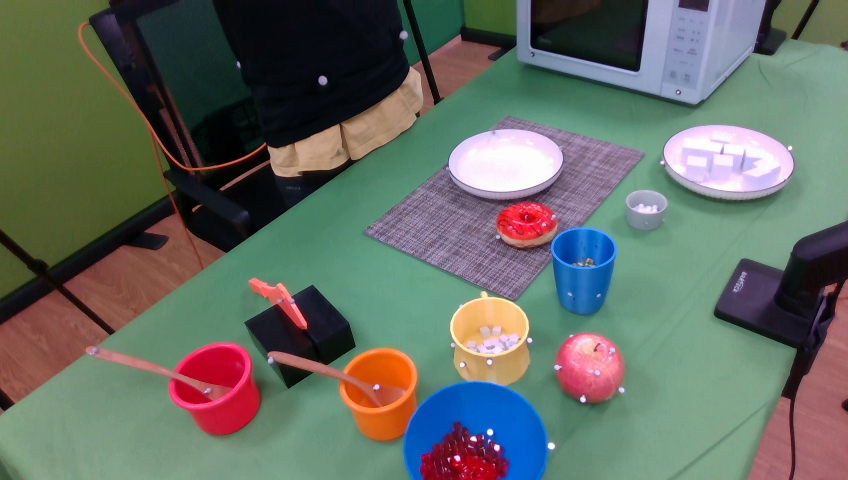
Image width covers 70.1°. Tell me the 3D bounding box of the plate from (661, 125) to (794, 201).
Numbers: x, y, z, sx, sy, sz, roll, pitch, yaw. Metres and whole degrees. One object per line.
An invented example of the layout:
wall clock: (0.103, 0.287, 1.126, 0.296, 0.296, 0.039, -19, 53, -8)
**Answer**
plate: (0.513, -0.128, 1.035, 0.207, 0.039, 0.206, -4, 40, 4)

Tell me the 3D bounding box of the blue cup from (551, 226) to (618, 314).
blue cup: (0.218, 0.047, 0.826, 0.092, 0.101, 0.092, -6, 40, 5)

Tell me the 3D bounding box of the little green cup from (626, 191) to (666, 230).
little green cup: (0.352, -0.046, 0.963, 0.061, 0.039, 0.061, -4, 40, 4)

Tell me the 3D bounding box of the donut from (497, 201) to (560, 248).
donut: (0.165, -0.026, 0.958, 0.099, 0.048, 0.098, -5, 38, 5)

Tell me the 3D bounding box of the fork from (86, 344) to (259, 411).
fork: (-0.298, 0.166, 0.728, 0.209, 0.018, 0.028, 28, 49, -23)

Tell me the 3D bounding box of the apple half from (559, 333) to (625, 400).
apple half: (0.209, 0.147, 0.730, 0.080, 0.075, 0.053, 26, 48, 38)

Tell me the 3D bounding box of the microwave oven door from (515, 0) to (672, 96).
microwave oven door: (0.343, -0.455, 1.259, 0.353, 0.245, 0.039, 26, 51, 33)

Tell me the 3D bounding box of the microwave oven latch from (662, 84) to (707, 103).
microwave oven latch: (0.517, -0.296, 1.204, 0.078, 0.029, 0.030, 27, 52, 35)

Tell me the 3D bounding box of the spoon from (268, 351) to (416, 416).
spoon: (-0.090, 0.162, 0.699, 0.021, 0.195, 0.041, -44, 31, 27)

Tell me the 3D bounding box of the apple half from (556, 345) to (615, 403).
apple half: (0.181, 0.167, 0.709, 0.080, 0.081, 0.033, 29, 49, 35)

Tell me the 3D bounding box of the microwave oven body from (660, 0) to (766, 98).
microwave oven body: (0.472, -0.513, 1.317, 0.438, 0.261, 0.327, 26, 51, 34)

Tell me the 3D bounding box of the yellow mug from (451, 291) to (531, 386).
yellow mug: (0.085, 0.120, 0.786, 0.100, 0.064, 0.130, -7, 39, 1)

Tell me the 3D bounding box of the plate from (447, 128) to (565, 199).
plate: (0.147, -0.134, 1.092, 0.209, 0.038, 0.208, -4, 40, 4)

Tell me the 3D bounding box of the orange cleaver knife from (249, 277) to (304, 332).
orange cleaver knife: (-0.210, 0.089, 0.855, 0.012, 0.077, 0.210, -27, 14, -25)

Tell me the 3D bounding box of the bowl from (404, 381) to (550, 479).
bowl: (0.058, 0.235, 0.645, 0.151, 0.077, 0.150, -4, 39, 4)
